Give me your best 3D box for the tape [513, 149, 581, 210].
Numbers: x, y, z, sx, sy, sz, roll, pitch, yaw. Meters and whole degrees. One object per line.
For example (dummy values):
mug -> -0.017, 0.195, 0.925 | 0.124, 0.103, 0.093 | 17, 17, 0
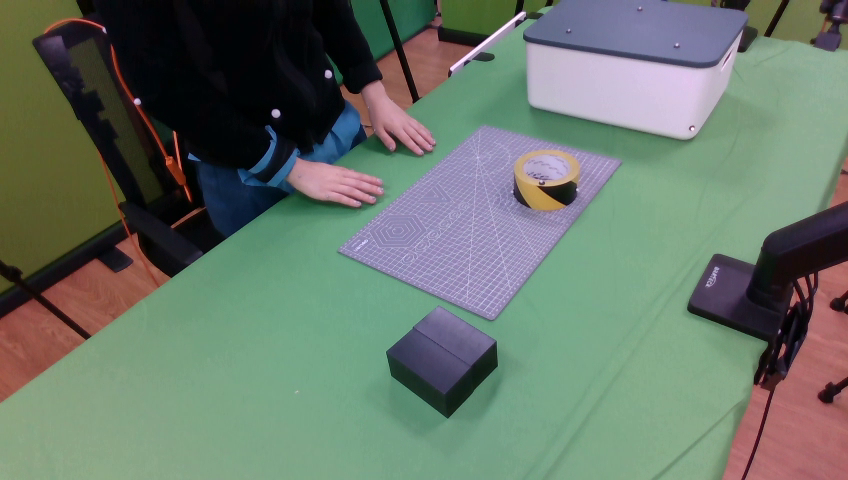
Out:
tape -> 0.208, -0.104, 1.032 | 0.117, 0.053, 0.116 | -4, 40, 4

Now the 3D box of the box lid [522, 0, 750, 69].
box lid -> 0.405, -0.409, 1.162 | 0.369, 0.015, 0.264 | 20, 47, 29

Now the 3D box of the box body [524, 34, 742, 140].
box body -> 0.412, -0.354, 1.212 | 0.361, 0.161, 0.254 | 20, 48, 29
